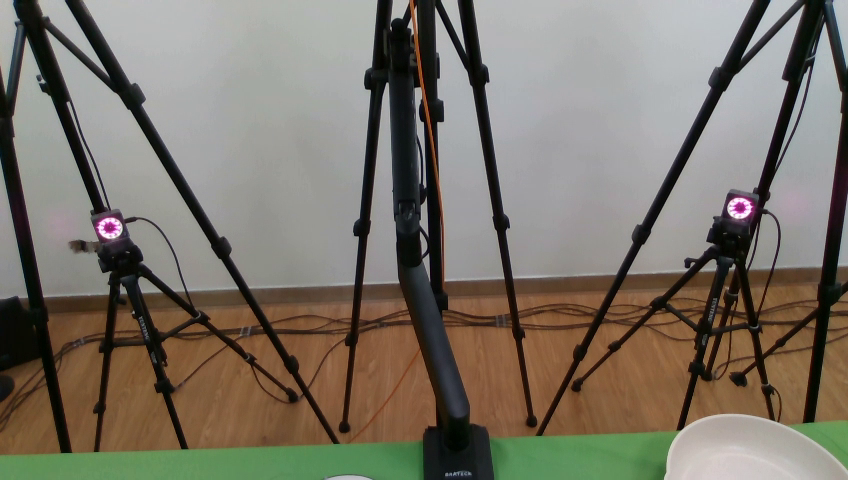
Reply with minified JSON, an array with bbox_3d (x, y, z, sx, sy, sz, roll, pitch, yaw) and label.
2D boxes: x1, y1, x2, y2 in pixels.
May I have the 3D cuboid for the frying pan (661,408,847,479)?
[{"bbox_3d":[0.517,0.445,0.864,0.306,0.103,0.484,0,26,5],"label":"frying pan"}]

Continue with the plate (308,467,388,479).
[{"bbox_3d":[-0.128,0.453,0.943,0.208,0.039,0.205,-1,34,1],"label":"plate"}]
